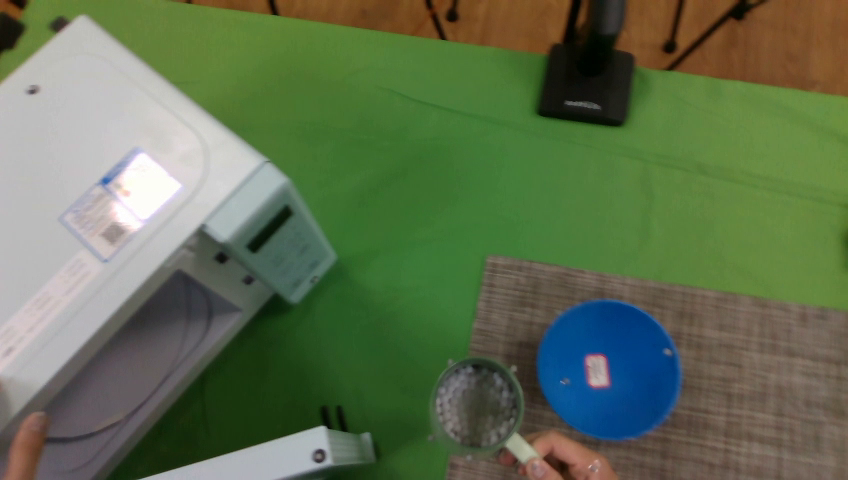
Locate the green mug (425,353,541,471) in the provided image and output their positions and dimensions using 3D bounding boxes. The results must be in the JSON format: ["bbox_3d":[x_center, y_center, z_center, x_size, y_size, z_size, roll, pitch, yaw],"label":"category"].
[{"bbox_3d":[0.058,0.163,0.561,0.124,0.105,0.092,42,77,14],"label":"green mug"}]

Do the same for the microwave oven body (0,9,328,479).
[{"bbox_3d":[-0.378,0.046,0.646,0.324,0.262,0.441,37,78,13],"label":"microwave oven body"}]

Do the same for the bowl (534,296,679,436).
[{"bbox_3d":[0.195,0.144,0.680,0.151,0.077,0.150,-1,71,3],"label":"bowl"}]

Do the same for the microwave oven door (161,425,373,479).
[{"bbox_3d":[-0.237,0.239,0.569,0.356,0.245,0.039,-16,72,-3],"label":"microwave oven door"}]

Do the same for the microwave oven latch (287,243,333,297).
[{"bbox_3d":[-0.146,0.031,0.742,0.030,0.030,0.079,39,78,14],"label":"microwave oven latch"}]
